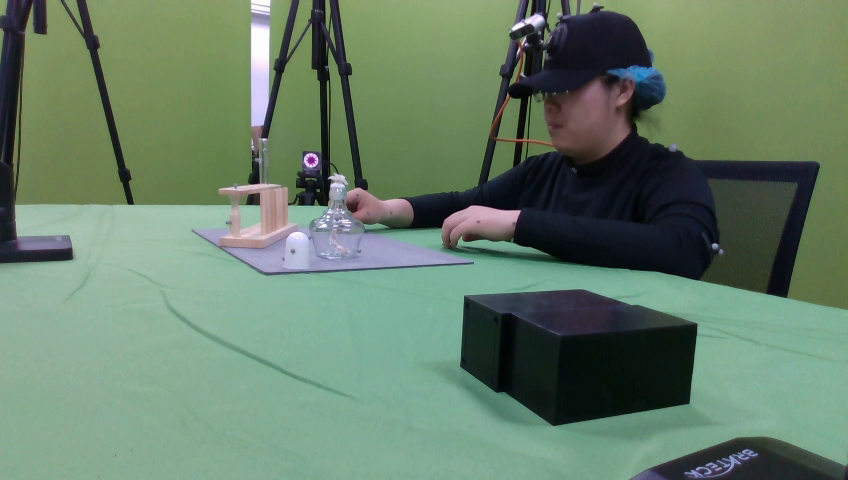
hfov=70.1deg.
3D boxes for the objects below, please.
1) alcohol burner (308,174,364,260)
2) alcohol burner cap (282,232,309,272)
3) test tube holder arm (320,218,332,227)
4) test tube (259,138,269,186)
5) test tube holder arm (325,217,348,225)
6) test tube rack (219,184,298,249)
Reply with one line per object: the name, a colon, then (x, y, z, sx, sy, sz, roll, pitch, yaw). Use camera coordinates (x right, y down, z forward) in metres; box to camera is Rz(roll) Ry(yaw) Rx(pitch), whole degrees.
alcohol burner: (-0.121, -0.033, 0.841, 0.078, 0.119, 0.078, 3, 5, 0)
alcohol burner cap: (-0.157, 0.014, 0.740, 0.034, 0.048, 0.034, 3, 6, 0)
test tube holder arm: (-0.170, -0.033, 1.088, 0.010, 0.015, 0.088, -12, 2, 5)
test tube: (-0.281, -0.104, 1.064, 0.017, 0.150, 0.017, 2, 12, 0)
test tube holder arm: (-0.162, -0.036, 1.133, 0.013, 0.015, 0.178, -12, 2, 4)
test tube rack: (-0.266, -0.046, 1.001, 0.067, 0.085, 0.242, 3, 7, 0)
